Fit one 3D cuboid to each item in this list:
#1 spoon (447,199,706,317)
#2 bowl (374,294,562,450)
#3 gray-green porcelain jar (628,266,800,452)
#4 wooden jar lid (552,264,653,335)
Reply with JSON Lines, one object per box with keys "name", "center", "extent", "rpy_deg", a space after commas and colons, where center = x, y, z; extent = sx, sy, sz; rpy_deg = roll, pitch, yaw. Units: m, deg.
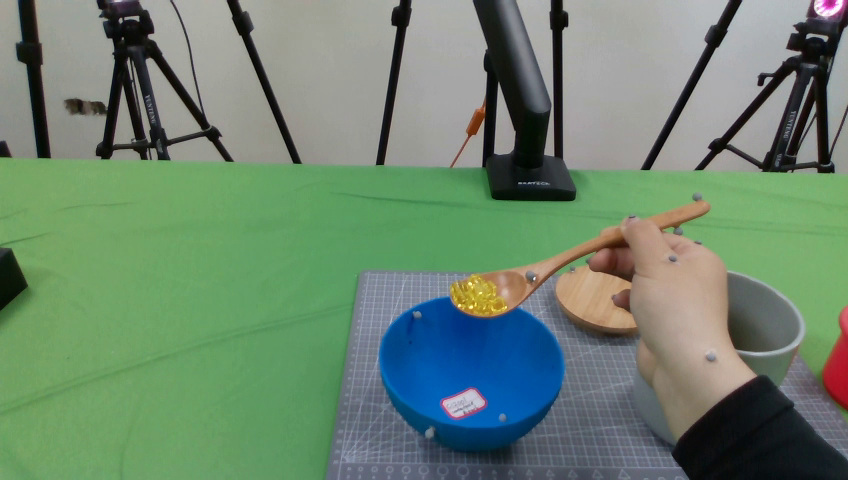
{"name": "spoon", "center": [0.108, 0.009, 0.416], "extent": [0.194, 0.022, 0.041], "rpy_deg": [-23, 41, -2]}
{"name": "bowl", "center": [0.034, 0.121, 0.508], "extent": [0.151, 0.077, 0.150], "rpy_deg": [1, 34, -1]}
{"name": "gray-green porcelain jar", "center": [0.231, 0.102, 0.502], "extent": [0.106, 0.127, 0.105], "rpy_deg": [1, 34, 0]}
{"name": "wooden jar lid", "center": [0.191, 0.064, 0.652], "extent": [0.108, 0.021, 0.107], "rpy_deg": [1, 33, 0]}
